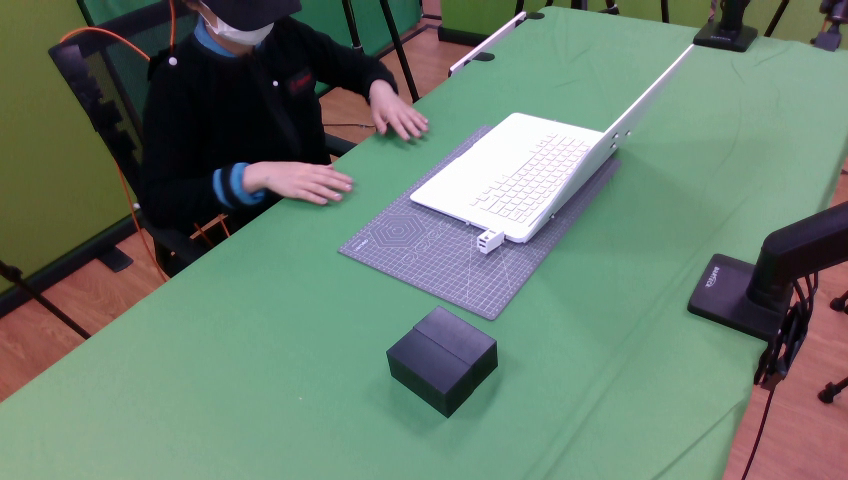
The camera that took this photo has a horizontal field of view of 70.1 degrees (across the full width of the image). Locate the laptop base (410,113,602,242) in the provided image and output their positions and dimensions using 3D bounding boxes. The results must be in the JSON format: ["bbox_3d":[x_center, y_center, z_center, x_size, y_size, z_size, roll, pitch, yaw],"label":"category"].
[{"bbox_3d":[0.171,-0.127,1.096,0.233,0.023,0.355,21,47,34],"label":"laptop base"}]

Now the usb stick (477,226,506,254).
[{"bbox_3d":[0.107,-0.004,0.933,0.021,0.027,0.059,25,38,35],"label":"usb stick"}]

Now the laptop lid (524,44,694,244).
[{"bbox_3d":[0.290,-0.151,0.941,0.013,0.241,0.358,40,54,12],"label":"laptop lid"}]
